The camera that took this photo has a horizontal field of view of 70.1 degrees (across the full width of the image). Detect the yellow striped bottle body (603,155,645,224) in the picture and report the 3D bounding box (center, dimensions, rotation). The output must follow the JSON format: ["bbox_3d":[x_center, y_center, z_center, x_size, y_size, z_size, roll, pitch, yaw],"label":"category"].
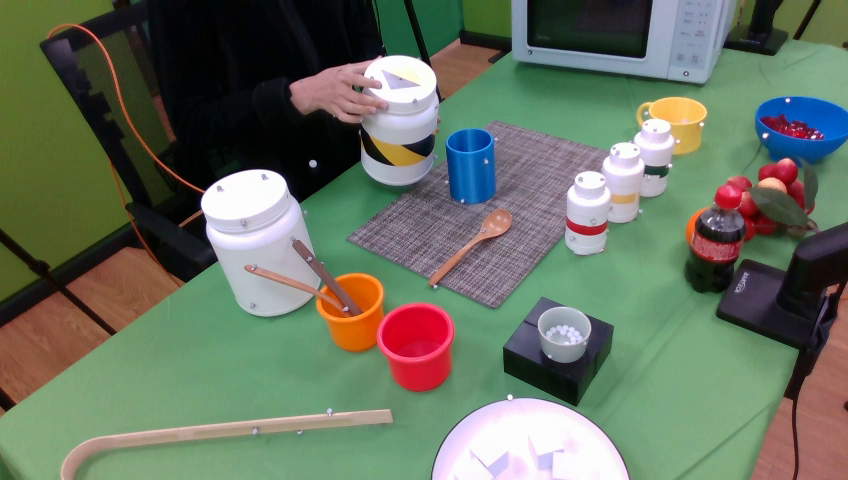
[{"bbox_3d":[0.314,-0.091,0.957,0.063,0.121,0.062,-4,40,4],"label":"yellow striped bottle body"}]

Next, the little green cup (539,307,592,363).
[{"bbox_3d":[0.168,0.115,0.721,0.061,0.039,0.061,-4,42,4],"label":"little green cup"}]

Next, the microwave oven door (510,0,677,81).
[{"bbox_3d":[0.354,-0.478,1.290,0.353,0.245,0.039,15,45,25],"label":"microwave oven door"}]

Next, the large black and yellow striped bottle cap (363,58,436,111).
[{"bbox_3d":[-0.038,-0.247,0.952,0.115,0.019,0.114,3,52,-4],"label":"large black and yellow striped bottle cap"}]

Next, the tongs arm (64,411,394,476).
[{"bbox_3d":[-0.228,0.241,0.715,0.385,0.026,0.050,-5,43,4],"label":"tongs arm"}]

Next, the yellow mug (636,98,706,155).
[{"bbox_3d":[0.453,-0.217,1.128,0.100,0.064,0.129,-34,46,-28],"label":"yellow mug"}]

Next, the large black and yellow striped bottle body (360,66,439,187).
[{"bbox_3d":[-0.042,-0.195,1.017,0.131,0.184,0.130,3,52,-3],"label":"large black and yellow striped bottle body"}]

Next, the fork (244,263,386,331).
[{"bbox_3d":[-0.141,0.077,0.807,0.209,0.018,0.028,30,44,-24],"label":"fork"}]

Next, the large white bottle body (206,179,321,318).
[{"bbox_3d":[-0.233,0.008,0.876,0.130,0.185,0.130,-5,40,4],"label":"large white bottle body"}]

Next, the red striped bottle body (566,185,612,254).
[{"bbox_3d":[0.248,-0.041,0.910,0.063,0.120,0.062,-4,41,4],"label":"red striped bottle body"}]

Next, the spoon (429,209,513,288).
[{"bbox_3d":[0.072,0.012,0.945,0.041,0.021,0.194,41,57,17],"label":"spoon"}]

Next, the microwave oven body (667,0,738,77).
[{"bbox_3d":[0.462,-0.552,1.369,0.439,0.261,0.326,15,45,26],"label":"microwave oven body"}]

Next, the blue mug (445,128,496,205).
[{"bbox_3d":[0.082,-0.137,1.056,0.082,0.106,0.116,-4,40,4],"label":"blue mug"}]

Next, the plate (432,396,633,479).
[{"bbox_3d":[0.112,0.261,0.634,0.209,0.038,0.208,-5,40,4],"label":"plate"}]

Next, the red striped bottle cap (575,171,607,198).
[{"bbox_3d":[0.242,-0.081,0.876,0.044,0.018,0.044,-5,44,5],"label":"red striped bottle cap"}]

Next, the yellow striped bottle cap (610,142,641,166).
[{"bbox_3d":[0.308,-0.131,0.925,0.044,0.019,0.044,-4,45,4],"label":"yellow striped bottle cap"}]

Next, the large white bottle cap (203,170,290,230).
[{"bbox_3d":[-0.241,-0.057,0.822,0.115,0.018,0.114,-4,40,4],"label":"large white bottle cap"}]

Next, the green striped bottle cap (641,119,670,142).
[{"bbox_3d":[0.371,-0.175,0.968,0.044,0.020,0.044,-6,42,6],"label":"green striped bottle cap"}]

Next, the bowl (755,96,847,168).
[{"bbox_3d":[0.645,-0.178,1.041,0.151,0.077,0.150,-5,40,4],"label":"bowl"}]

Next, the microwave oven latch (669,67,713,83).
[{"bbox_3d":[0.556,-0.349,1.261,0.078,0.029,0.030,16,46,27],"label":"microwave oven latch"}]

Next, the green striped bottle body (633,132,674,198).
[{"bbox_3d":[0.376,-0.135,1.001,0.063,0.120,0.063,-5,40,5],"label":"green striped bottle body"}]

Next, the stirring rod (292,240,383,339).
[{"bbox_3d":[-0.118,0.068,0.826,0.176,0.006,0.014,49,59,-4],"label":"stirring rod"}]

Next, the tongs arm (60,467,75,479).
[{"bbox_3d":[-0.239,0.301,0.648,0.386,0.028,0.028,6,49,16],"label":"tongs arm"}]
